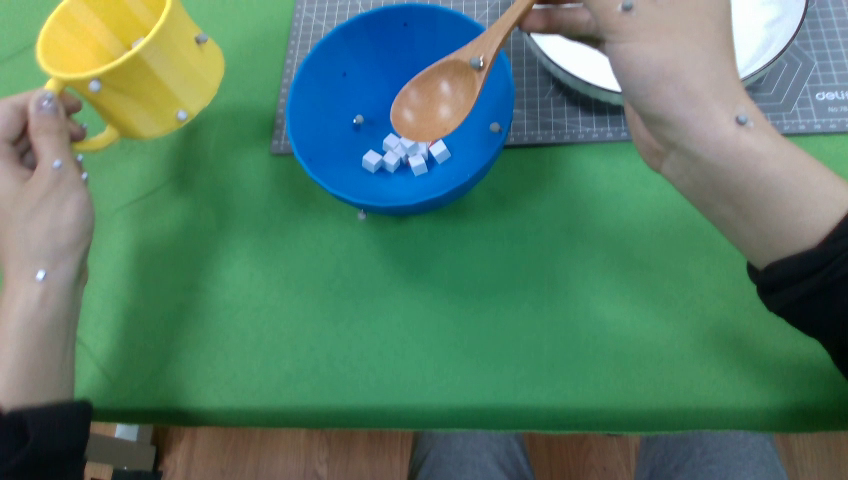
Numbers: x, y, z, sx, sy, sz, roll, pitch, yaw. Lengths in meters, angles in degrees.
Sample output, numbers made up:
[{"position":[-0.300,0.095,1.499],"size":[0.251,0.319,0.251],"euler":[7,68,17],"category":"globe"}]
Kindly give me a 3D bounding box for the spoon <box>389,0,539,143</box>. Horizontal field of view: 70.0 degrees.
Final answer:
[{"position":[0.055,-0.124,0.319],"size":[0.194,0.022,0.041],"euler":[-44,71,16],"category":"spoon"}]

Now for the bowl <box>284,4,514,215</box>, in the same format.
[{"position":[-0.012,-0.077,0.423],"size":[0.151,0.077,0.150],"euler":[-3,70,8],"category":"bowl"}]

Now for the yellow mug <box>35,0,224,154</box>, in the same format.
[{"position":[-0.209,-0.116,0.416],"size":[0.099,0.064,0.130],"euler":[23,71,25],"category":"yellow mug"}]

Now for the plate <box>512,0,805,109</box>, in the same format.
[{"position":[0.171,-0.182,0.462],"size":[0.209,0.038,0.207],"euler":[-3,66,7],"category":"plate"}]
